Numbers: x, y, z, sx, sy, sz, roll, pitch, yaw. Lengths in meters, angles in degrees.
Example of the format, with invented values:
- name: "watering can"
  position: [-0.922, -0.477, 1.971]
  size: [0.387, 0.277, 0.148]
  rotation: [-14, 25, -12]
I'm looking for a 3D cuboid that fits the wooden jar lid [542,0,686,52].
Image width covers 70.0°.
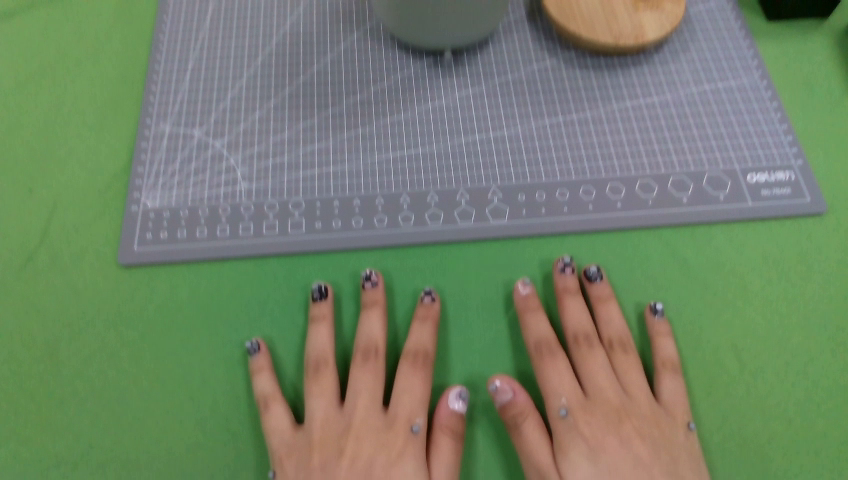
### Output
- name: "wooden jar lid"
  position: [0.141, -0.183, 0.459]
  size: [0.108, 0.021, 0.107]
  rotation: [0, 63, 0]

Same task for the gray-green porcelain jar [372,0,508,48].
- name: "gray-green porcelain jar"
  position: [0.012, -0.205, 0.408]
  size: [0.106, 0.127, 0.105]
  rotation: [0, 63, 0]
